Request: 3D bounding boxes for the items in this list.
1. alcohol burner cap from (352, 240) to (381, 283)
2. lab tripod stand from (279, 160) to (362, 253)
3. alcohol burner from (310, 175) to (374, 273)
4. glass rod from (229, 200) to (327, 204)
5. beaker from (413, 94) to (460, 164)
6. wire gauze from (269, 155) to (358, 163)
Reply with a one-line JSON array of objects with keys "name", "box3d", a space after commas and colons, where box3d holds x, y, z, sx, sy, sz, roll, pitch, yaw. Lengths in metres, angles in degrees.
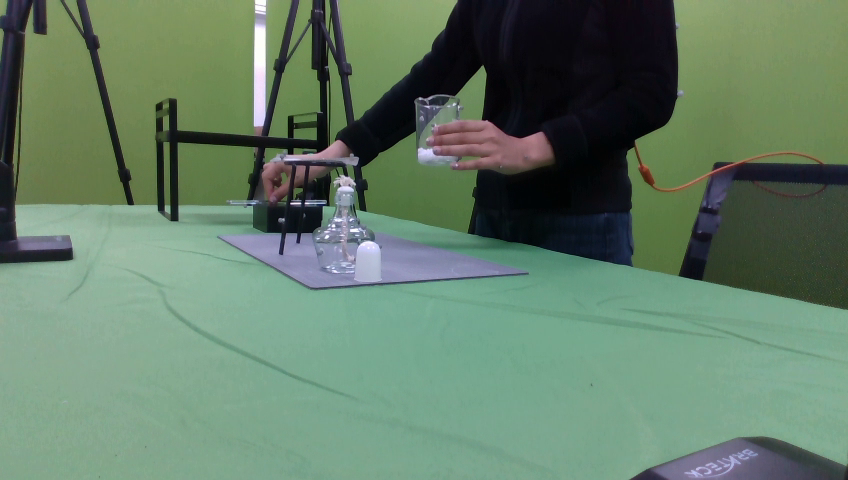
[{"name": "alcohol burner cap", "box3d": [-0.065, 0.023, 0.690, 0.034, 0.048, 0.034, 2, 8, 0]}, {"name": "lab tripod stand", "box3d": [-0.166, -0.052, 0.897, 0.148, 0.131, 0.148, 0, 7, 0]}, {"name": "alcohol burner", "box3d": [-0.100, -0.020, 0.741, 0.078, 0.119, 0.078, 1, 6, 0]}, {"name": "glass rod", "box3d": [-0.273, -0.072, 1.154, 0.201, 0.008, 0.008, -3, 9, -40]}, {"name": "beaker", "box3d": [0.020, -0.174, 0.957, 0.074, 0.100, 0.084, -2, 1, 24]}, {"name": "wire gauze", "box3d": [-0.159, -0.118, 0.886, 0.122, 0.011, 0.125, 1, 7, -9]}]
